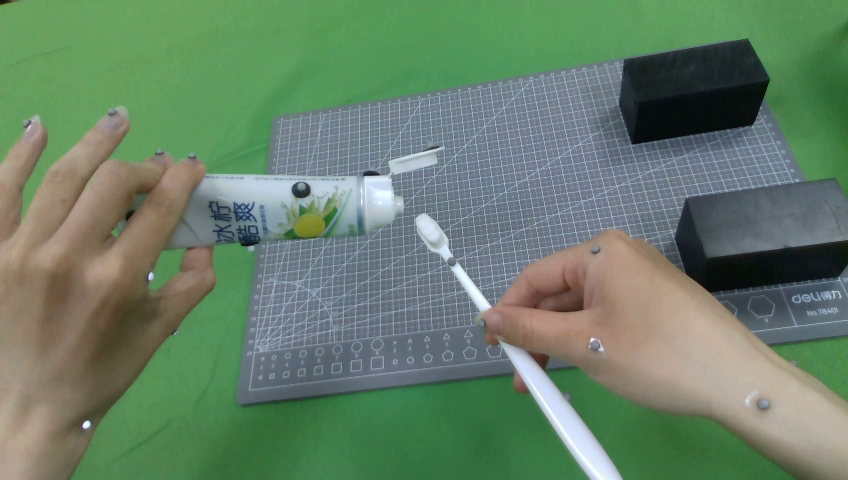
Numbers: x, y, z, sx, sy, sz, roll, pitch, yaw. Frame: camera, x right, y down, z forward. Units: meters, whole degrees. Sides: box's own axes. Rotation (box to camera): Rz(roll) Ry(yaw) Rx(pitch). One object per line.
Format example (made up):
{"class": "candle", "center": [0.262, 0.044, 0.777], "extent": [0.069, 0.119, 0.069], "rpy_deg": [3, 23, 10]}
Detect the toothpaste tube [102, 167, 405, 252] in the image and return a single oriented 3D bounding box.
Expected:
{"class": "toothpaste tube", "center": [-0.093, -0.021, 0.348], "extent": [0.165, 0.055, 0.034], "rpy_deg": [-4, 29, -4]}

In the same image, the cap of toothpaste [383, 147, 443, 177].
{"class": "cap of toothpaste", "center": [-0.006, -0.045, 0.353], "extent": [0.037, 0.037, 0.011], "rpy_deg": [-16, 96, 2]}

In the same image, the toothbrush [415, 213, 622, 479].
{"class": "toothbrush", "center": [0.045, 0.054, 0.320], "extent": [0.014, 0.017, 0.180], "rpy_deg": [-33, 67, -6]}
